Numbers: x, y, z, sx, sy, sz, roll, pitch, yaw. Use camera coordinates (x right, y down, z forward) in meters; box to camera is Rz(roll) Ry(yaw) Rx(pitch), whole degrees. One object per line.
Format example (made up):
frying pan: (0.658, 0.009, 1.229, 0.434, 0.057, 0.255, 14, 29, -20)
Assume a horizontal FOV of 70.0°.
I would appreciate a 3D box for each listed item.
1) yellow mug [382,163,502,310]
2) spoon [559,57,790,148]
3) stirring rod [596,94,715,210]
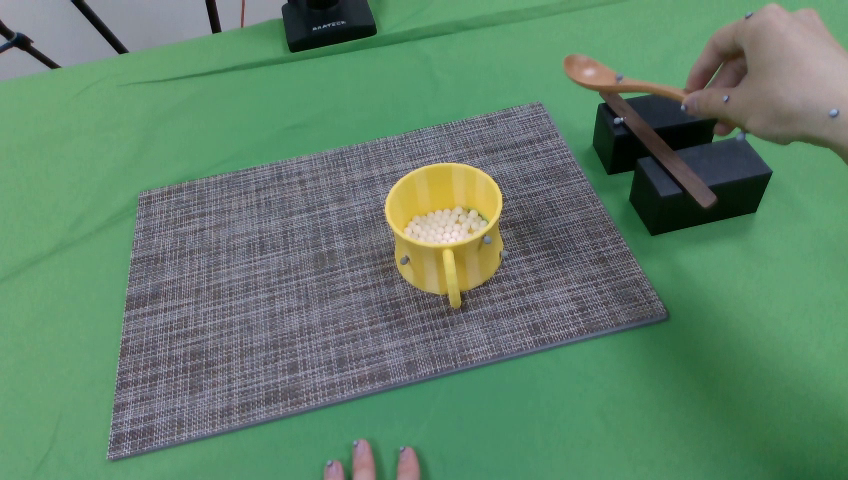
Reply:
yellow mug: (0.019, 0.001, 0.519, 0.100, 0.064, 0.129, -7, 50, 2)
spoon: (0.182, -0.109, 0.464, 0.042, 0.022, 0.191, -25, 40, -32)
stirring rod: (0.203, -0.089, 0.546, 0.014, 0.006, 0.174, -41, 48, 19)
